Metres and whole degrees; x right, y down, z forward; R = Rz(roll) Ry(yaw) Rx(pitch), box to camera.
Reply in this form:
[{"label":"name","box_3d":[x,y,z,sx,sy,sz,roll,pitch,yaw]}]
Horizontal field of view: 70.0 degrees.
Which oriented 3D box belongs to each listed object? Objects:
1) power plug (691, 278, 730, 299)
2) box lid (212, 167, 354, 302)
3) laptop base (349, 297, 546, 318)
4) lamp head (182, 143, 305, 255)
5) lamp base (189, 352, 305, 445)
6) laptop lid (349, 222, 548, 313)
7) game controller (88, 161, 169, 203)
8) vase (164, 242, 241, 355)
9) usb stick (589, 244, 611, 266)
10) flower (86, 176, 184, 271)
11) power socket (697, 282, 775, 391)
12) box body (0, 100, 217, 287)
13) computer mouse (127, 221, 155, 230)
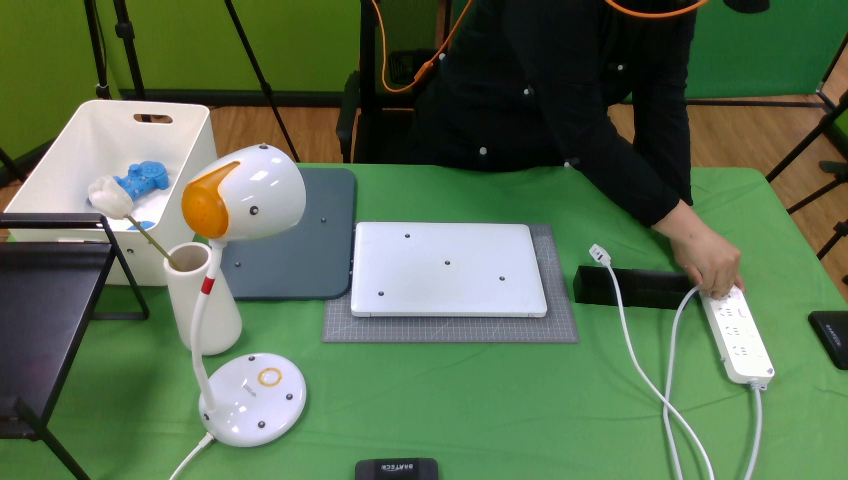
[{"label":"power plug","box_3d":[0.524,0.089,1.115,0.072,0.053,0.035,9,50,11]},{"label":"box lid","box_3d":[-0.276,-0.024,1.205,0.263,0.015,0.369,0,46,-4]},{"label":"laptop base","box_3d":[0.041,0.056,1.149,0.355,0.023,0.234,1,43,-4]},{"label":"lamp head","box_3d":[-0.216,-0.044,0.697,0.112,0.113,0.123,23,31,17]},{"label":"lamp base","box_3d":[-0.267,0.197,0.876,0.160,0.181,0.179,26,52,20]},{"label":"laptop lid","box_3d":[0.042,0.046,1.143,0.357,0.013,0.240,2,44,-3]},{"label":"game controller","box_3d":[-0.597,-0.114,1.234,0.097,0.052,0.155,30,52,19]},{"label":"vase","box_3d":[-0.349,0.096,0.954,0.098,0.201,0.097,3,47,-3]},{"label":"usb stick","box_3d":[0.338,0.026,1.172,0.027,0.021,0.059,28,18,-8]},{"label":"flower","box_3d":[-0.365,0.038,0.894,0.038,0.364,0.044,-4,53,15]},{"label":"power socket","box_3d":[0.551,0.160,1.079,0.072,0.033,0.225,3,46,0]},{"label":"box body","box_3d":[-0.559,-0.092,1.144,0.254,0.161,0.361,3,46,-2]},{"label":"computer mouse","box_3d":[-0.536,0.009,1.127,0.062,0.041,0.117,31,55,21]}]
